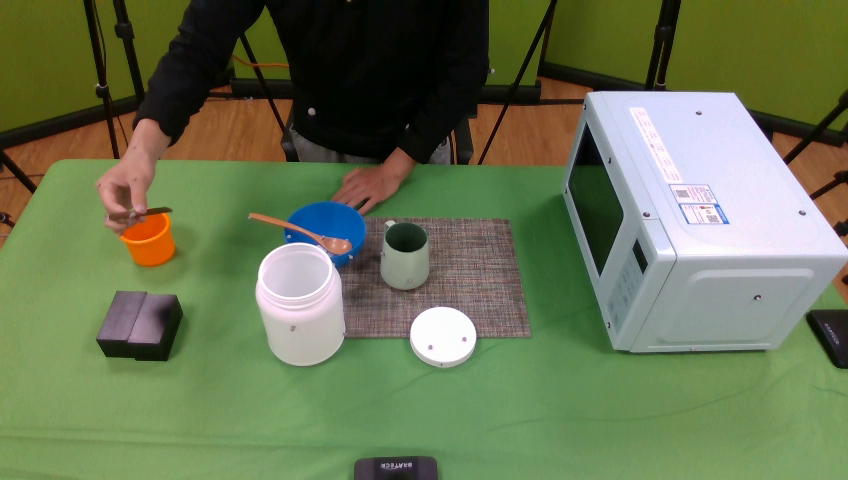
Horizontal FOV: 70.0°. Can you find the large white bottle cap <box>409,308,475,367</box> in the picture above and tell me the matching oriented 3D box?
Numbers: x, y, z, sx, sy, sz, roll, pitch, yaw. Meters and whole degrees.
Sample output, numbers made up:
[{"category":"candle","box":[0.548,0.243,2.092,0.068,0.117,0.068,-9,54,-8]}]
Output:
[{"category":"large white bottle cap","box":[0.031,0.165,1.041,0.115,0.018,0.114,2,47,-2]}]

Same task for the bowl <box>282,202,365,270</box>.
[{"category":"bowl","box":[-0.185,0.006,1.136,0.151,0.077,0.150,3,46,-2]}]

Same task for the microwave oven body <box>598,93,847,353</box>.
[{"category":"microwave oven body","box":[0.475,-0.041,1.109,0.326,0.261,0.438,-1,45,-4]}]

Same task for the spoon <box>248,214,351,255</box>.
[{"category":"spoon","box":[-0.228,-0.014,1.113,0.194,0.022,0.041,23,40,-15]}]

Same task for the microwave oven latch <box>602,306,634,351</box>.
[{"category":"microwave oven latch","box":[0.332,0.153,1.044,0.030,0.029,0.078,-1,45,-4]}]

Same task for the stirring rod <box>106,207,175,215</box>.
[{"category":"stirring rod","box":[-0.420,-0.043,0.906,0.014,0.006,0.176,24,3,3]}]

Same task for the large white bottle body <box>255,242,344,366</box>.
[{"category":"large white bottle body","box":[-0.196,0.102,0.967,0.131,0.185,0.130,2,49,-2]}]

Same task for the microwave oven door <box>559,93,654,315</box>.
[{"category":"microwave oven door","box":[0.327,-0.074,1.123,0.039,0.245,0.353,-1,46,-5]}]

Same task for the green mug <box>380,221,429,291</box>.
[{"category":"green mug","box":[-0.043,0.020,1.116,0.092,0.105,0.124,-20,50,-21]}]
